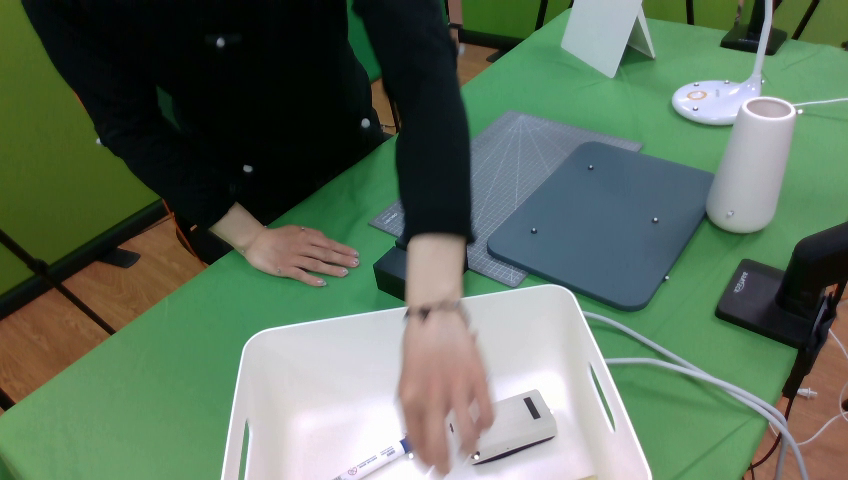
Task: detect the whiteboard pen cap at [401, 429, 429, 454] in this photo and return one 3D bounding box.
[{"bbox_3d":[-0.012,0.232,0.695,0.033,0.018,0.018,-24,43,-20],"label":"whiteboard pen cap"}]

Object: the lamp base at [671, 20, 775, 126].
[{"bbox_3d":[0.582,-0.332,1.154,0.179,0.181,0.160,2,41,7],"label":"lamp base"}]

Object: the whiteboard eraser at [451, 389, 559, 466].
[{"bbox_3d":[0.090,0.213,0.683,0.113,0.042,0.055,-17,39,-8],"label":"whiteboard eraser"}]

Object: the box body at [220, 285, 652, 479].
[{"bbox_3d":[0.005,0.211,0.616,0.364,0.161,0.252,-9,40,-2],"label":"box body"}]

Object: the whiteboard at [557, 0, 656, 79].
[{"bbox_3d":[0.463,-0.542,1.367,0.145,0.306,0.215,-3,36,-25],"label":"whiteboard"}]

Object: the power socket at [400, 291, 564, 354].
[{"bbox_3d":[0.079,0.111,0.823,0.227,0.033,0.072,-5,41,1],"label":"power socket"}]

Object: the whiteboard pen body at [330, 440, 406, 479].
[{"bbox_3d":[-0.063,0.253,0.677,0.141,0.017,0.017,-24,43,-22],"label":"whiteboard pen body"}]

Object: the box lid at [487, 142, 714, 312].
[{"bbox_3d":[0.299,-0.041,0.986,0.261,0.015,0.372,23,49,30],"label":"box lid"}]

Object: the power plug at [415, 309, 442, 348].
[{"bbox_3d":[0.004,0.121,0.786,0.035,0.053,0.072,1,45,8],"label":"power plug"}]

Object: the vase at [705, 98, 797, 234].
[{"bbox_3d":[0.481,-0.104,0.889,0.098,0.201,0.097,-4,42,4],"label":"vase"}]
